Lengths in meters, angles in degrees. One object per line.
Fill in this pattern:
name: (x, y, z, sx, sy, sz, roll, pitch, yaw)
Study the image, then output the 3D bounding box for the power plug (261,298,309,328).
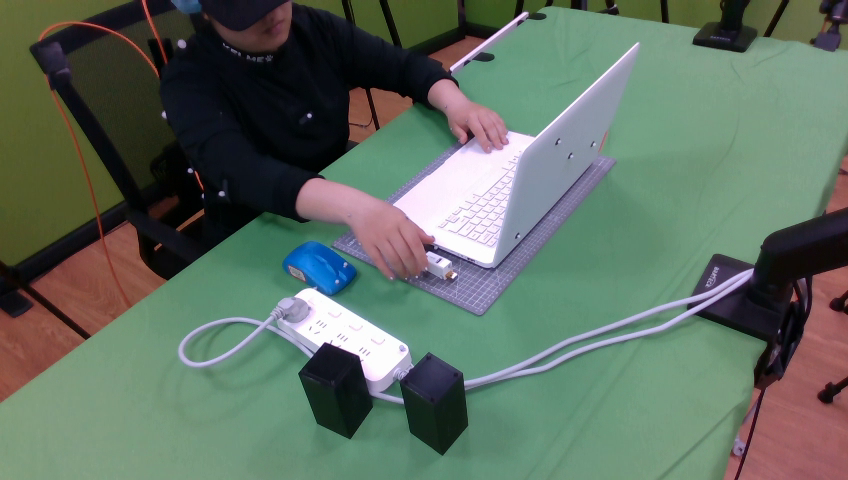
power plug: (-0.192, 0.107, 0.830, 0.073, 0.053, 0.035, -32, 42, -26)

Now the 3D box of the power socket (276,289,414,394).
power socket: (-0.114, 0.133, 0.821, 0.225, 0.033, 0.072, 25, 49, 33)

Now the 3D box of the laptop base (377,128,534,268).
laptop base: (0.116, -0.088, 1.059, 0.233, 0.023, 0.355, 20, 47, 33)

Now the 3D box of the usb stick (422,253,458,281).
usb stick: (0.025, 0.043, 0.908, 0.058, 0.027, 0.021, 26, 48, 32)

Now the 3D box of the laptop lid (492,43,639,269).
laptop lid: (0.217, -0.129, 0.911, 0.013, 0.242, 0.358, 32, 51, 21)

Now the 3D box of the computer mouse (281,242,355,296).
computer mouse: (-0.164, 0.041, 0.934, 0.116, 0.041, 0.063, 26, 49, 29)
